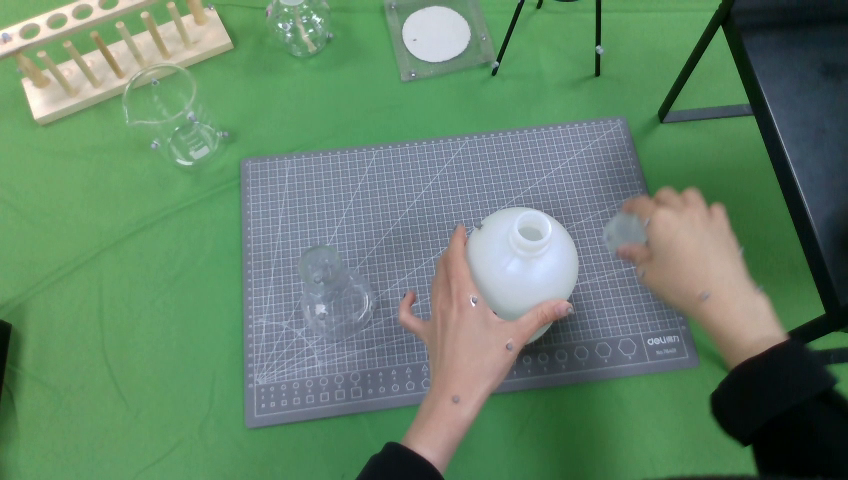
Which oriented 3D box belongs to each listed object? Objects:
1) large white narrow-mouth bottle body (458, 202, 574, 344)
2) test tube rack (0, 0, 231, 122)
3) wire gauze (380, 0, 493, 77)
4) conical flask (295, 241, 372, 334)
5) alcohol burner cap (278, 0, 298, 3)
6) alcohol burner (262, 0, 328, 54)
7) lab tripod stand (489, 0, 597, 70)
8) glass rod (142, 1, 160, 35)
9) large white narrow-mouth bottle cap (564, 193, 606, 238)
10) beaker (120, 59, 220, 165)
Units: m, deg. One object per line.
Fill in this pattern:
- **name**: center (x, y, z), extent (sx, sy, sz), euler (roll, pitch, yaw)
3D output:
- **large white narrow-mouth bottle body**: center (0.081, 0.024, 0.542), extent (0.102, 0.196, 0.101), euler (-1, 67, 3)
- **test tube rack**: center (-0.362, -0.232, 0.704), extent (0.242, 0.086, 0.066), euler (-26, 70, -10)
- **wire gauze**: center (0.014, -0.266, 0.761), extent (0.121, 0.011, 0.124), euler (-11, 68, -6)
- **conical flask**: center (-0.092, 0.040, 0.572), extent (0.075, 0.122, 0.075), euler (0, 68, 0)
- **alcohol burner cap**: center (-0.154, -0.293, 0.675), extent (0.034, 0.048, 0.033), euler (4, 65, -8)
- **alcohol burner**: center (-0.154, -0.277, 0.708), extent (0.078, 0.120, 0.077), euler (0, 66, -1)
- **lab tripod stand**: center (0.146, -0.266, 0.694), extent (0.148, 0.132, 0.147), euler (1, 67, -2)
- **glass rod**: center (-0.319, -0.296, 0.658), extent (0.008, 0.201, 0.008), euler (2, 65, -4)
- **large white narrow-mouth bottle cap**: center (0.147, -0.022, 0.554), extent (0.038, 0.024, 0.037), euler (-1, 67, 2)
- **beaker**: center (-0.271, -0.131, 0.656), extent (0.073, 0.101, 0.084), euler (38, 73, 15)
